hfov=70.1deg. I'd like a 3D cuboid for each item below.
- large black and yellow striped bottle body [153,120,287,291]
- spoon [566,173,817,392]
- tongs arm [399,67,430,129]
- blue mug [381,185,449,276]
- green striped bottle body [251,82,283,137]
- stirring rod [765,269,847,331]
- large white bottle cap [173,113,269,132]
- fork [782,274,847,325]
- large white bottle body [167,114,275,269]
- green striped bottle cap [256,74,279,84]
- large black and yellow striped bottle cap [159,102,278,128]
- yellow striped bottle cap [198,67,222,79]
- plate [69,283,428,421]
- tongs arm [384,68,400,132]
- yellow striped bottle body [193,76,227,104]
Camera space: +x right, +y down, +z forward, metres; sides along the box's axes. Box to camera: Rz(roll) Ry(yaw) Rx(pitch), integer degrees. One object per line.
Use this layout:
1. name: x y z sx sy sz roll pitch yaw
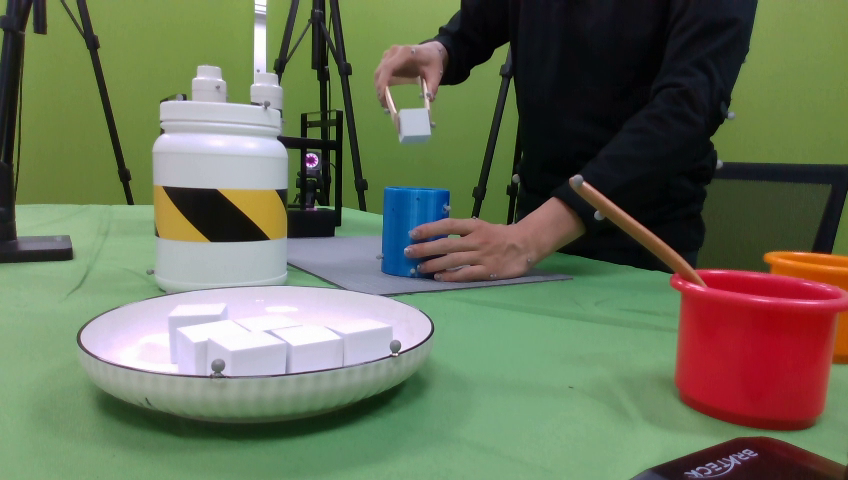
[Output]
1. large black and yellow striped bottle body: -0.208 -0.042 0.626 0.131 0.184 0.130 2 7 0
2. spoon: 0.161 0.024 0.370 0.193 0.021 0.042 47 18 3
3. tongs arm: -0.018 -0.211 0.866 0.051 0.026 0.384 -5 23 2
4. blue mug: -0.018 -0.016 0.764 0.083 0.106 0.116 -2 8 -25
5. green striped bottle body: -0.317 -0.270 1.220 0.063 0.119 0.063 2 7 0
6. stirring rod: 0.352 0.020 0.484 0.176 0.006 0.014 -40 -6 13
7. large white bottle cap: -0.254 -0.146 0.760 0.115 0.018 0.115 1 7 0
8. fork: 0.332 0.018 0.443 0.028 0.018 0.207 -1 -36 -15
9. large white bottle body: -0.257 -0.063 0.772 0.131 0.184 0.130 2 7 0
10. green striped bottle cap: -0.314 -0.321 1.214 0.044 0.020 0.044 2 9 0
11. large black and yellow striped bottle cap: -0.207 -0.125 0.615 0.115 0.019 0.115 2 6 0
12. yellow striped bottle cap: -0.411 -0.320 1.163 0.044 0.018 0.044 1 6 0
13. plate: -0.102 0.066 0.381 0.208 0.039 0.207 2 7 0
14. tongs arm: -0.042 -0.209 0.865 0.028 0.028 0.386 -10 23 0
15. yellow striped bottle body: -0.414 -0.268 1.169 0.063 0.120 0.063 2 7 0
